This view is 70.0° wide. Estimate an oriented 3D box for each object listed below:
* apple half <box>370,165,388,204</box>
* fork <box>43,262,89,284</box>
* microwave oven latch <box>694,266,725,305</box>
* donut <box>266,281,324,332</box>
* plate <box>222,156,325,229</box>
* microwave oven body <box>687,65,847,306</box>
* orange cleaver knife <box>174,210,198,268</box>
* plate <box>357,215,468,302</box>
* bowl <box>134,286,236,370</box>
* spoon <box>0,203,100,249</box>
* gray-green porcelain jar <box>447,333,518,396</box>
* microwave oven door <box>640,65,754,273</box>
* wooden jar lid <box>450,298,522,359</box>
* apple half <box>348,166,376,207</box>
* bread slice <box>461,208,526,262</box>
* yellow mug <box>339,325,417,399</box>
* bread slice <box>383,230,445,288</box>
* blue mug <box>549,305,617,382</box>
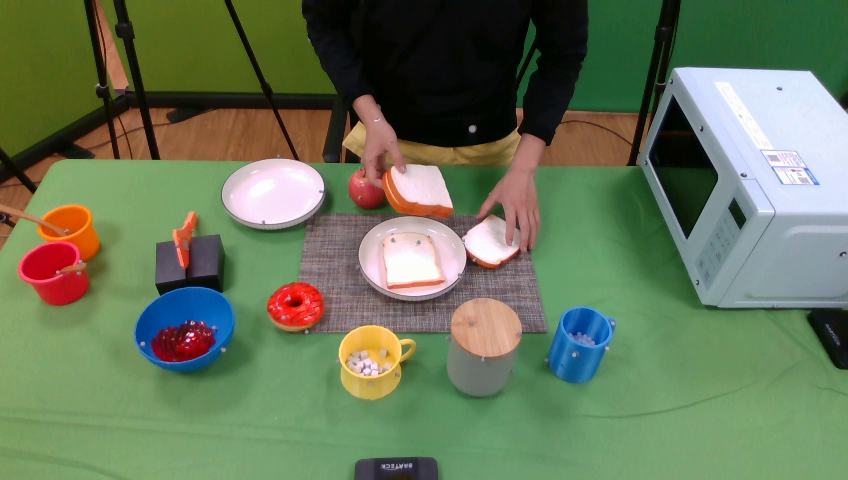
[{"bbox_3d":[-0.091,-0.115,1.261,0.033,0.082,0.080,-9,48,-5],"label":"apple half"},{"bbox_3d":[-0.599,0.053,1.013,0.207,0.019,0.028,-14,30,45],"label":"fork"},{"bbox_3d":[0.523,0.082,1.115,0.030,0.029,0.078,3,46,0],"label":"microwave oven latch"},{"bbox_3d":[-0.222,0.115,1.049,0.099,0.048,0.098,2,46,-2],"label":"donut"},{"bbox_3d":[-0.308,-0.095,1.251,0.209,0.038,0.208,3,46,-3],"label":"plate"},{"bbox_3d":[0.669,-0.111,1.176,0.326,0.261,0.439,0,46,-3],"label":"microwave oven body"},{"bbox_3d":[-0.436,-0.006,1.127,0.012,0.077,0.210,-13,19,-8],"label":"orange cleaver knife"},{"bbox_3d":[-0.022,0.037,1.141,0.208,0.039,0.206,2,46,-2],"label":"plate"},{"bbox_3d":[-0.377,0.155,0.981,0.151,0.077,0.150,2,46,-2],"label":"bowl"},{"bbox_3d":[-0.683,-0.031,1.088,0.195,0.021,0.041,33,33,-38],"label":"spoon"},{"bbox_3d":[0.091,0.178,0.960,0.106,0.127,0.105,2,47,-2],"label":"gray-green porcelain jar"},{"bbox_3d":[0.523,-0.147,1.193,0.039,0.245,0.353,0,47,-3],"label":"microwave oven door"},{"bbox_3d":[0.093,0.135,0.914,0.108,0.021,0.107,2,48,-3],"label":"wooden jar lid"},{"bbox_3d":[-0.130,-0.109,1.254,0.053,0.075,0.080,-9,50,-7],"label":"apple half"},{"bbox_3d":[0.127,-0.008,1.194,0.104,0.019,0.131,19,49,26],"label":"bread slice"},{"bbox_3d":[-0.072,0.190,0.978,0.131,0.064,0.099,-17,50,-20],"label":"yellow mug"},{"bbox_3d":[-0.028,0.035,1.145,0.107,0.018,0.133,-7,48,-11],"label":"bread slice"},{"bbox_3d":[0.269,0.166,0.998,0.116,0.106,0.082,-19,51,-21],"label":"blue mug"}]
